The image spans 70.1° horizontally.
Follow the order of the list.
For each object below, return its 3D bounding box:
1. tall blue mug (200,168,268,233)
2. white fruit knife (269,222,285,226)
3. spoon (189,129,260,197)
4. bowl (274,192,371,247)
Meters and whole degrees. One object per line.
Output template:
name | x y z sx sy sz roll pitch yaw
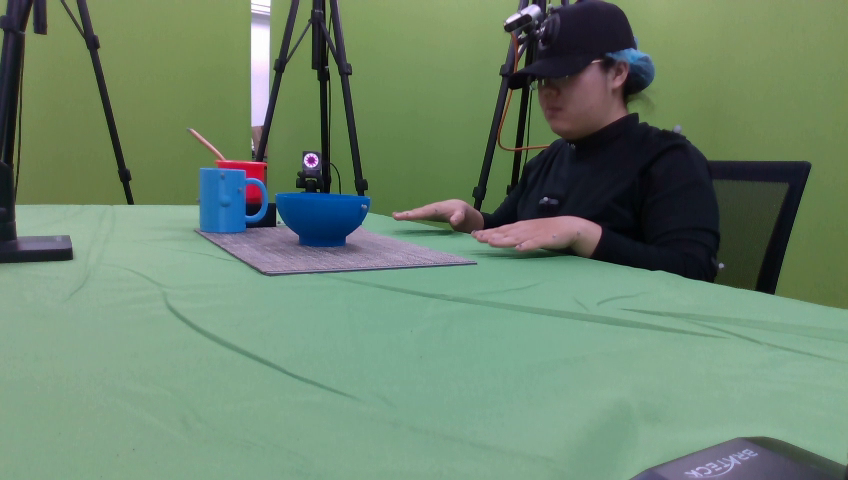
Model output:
tall blue mug | -0.342 -0.071 1.072 0.077 0.108 0.108 8 9 38
white fruit knife | -0.222 -0.038 1.261 0.208 0.016 0.027 -4 -17 -32
spoon | -0.389 -0.150 1.174 0.193 0.021 0.042 49 20 7
bowl | -0.161 -0.033 0.958 0.151 0.077 0.151 3 7 0
